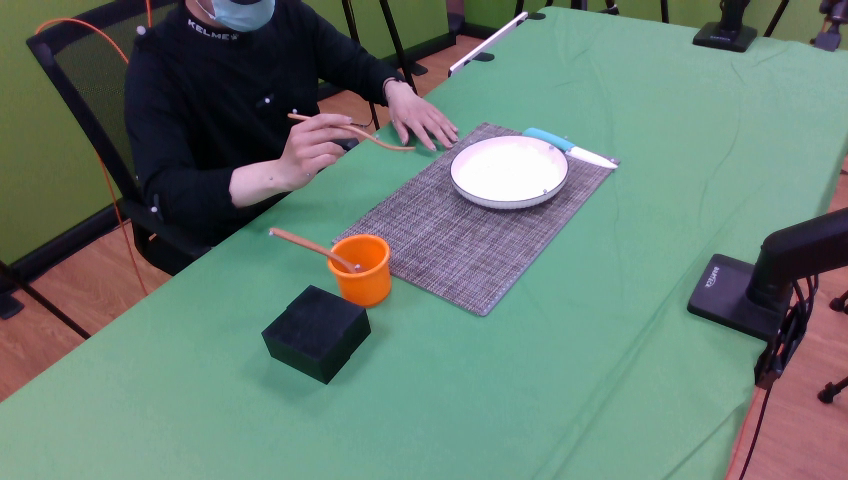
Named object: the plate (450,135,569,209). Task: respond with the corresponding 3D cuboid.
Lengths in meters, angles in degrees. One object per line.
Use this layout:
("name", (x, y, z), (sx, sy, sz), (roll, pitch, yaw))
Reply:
("plate", (0.149, -0.117, 1.066), (0.209, 0.038, 0.208), (-4, 41, 4))

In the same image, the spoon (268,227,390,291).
("spoon", (-0.132, 0.025, 0.862), (0.021, 0.195, 0.041), (-40, 31, 32))

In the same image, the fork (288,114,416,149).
("fork", (-0.114, -0.171, 0.954), (0.207, 0.018, 0.028), (17, 14, -1))

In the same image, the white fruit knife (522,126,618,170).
("white fruit knife", (0.272, -0.172, 1.132), (0.205, 0.016, 0.027), (32, 82, 34))
